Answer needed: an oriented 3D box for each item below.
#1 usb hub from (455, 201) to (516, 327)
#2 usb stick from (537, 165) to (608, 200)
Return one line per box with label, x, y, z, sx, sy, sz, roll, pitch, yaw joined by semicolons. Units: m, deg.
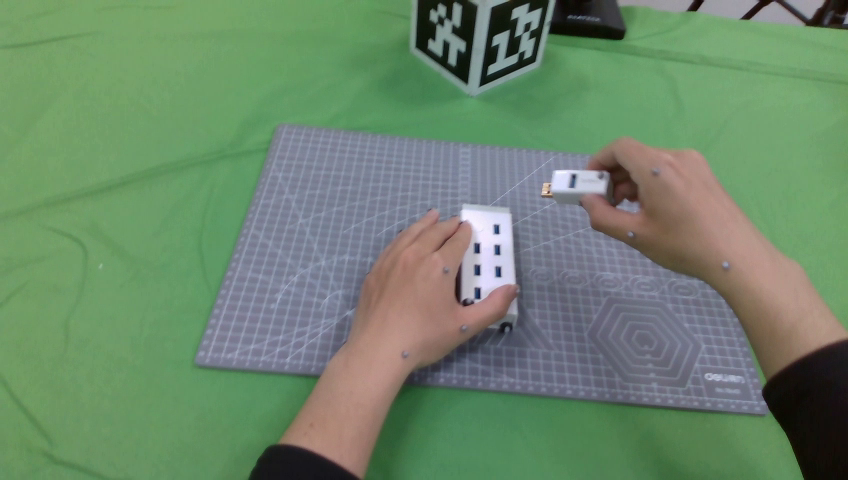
usb hub;0.052;0.018;0.538;0.049;0.025;0.124;4;48;-1
usb stick;0.118;-0.046;0.494;0.059;0.027;0.021;1;71;36
